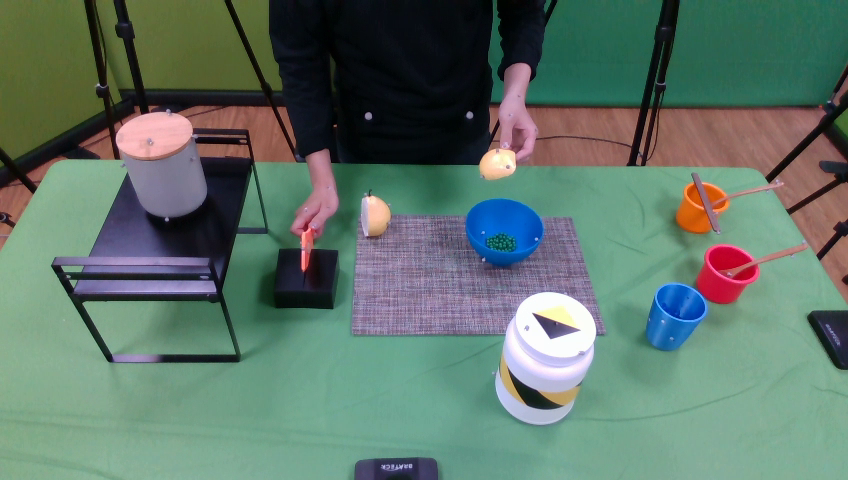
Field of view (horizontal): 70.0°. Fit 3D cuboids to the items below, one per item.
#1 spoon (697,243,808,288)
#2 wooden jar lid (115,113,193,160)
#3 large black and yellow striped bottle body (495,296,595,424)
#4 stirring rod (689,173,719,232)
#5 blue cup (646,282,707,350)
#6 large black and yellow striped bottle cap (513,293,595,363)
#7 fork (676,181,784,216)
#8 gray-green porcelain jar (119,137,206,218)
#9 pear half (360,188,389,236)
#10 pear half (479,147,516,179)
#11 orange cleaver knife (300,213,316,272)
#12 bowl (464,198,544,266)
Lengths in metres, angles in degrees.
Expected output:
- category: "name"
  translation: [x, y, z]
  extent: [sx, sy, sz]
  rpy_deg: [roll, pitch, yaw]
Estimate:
- category: "spoon"
  translation: [0.601, 0.045, 1.115]
  extent: [0.194, 0.022, 0.041]
  rpy_deg: [-29, 35, 30]
- category: "wooden jar lid"
  translation: [-0.399, -0.151, 0.900]
  extent: [0.108, 0.021, 0.107]
  rpy_deg: [3, 46, -3]
- category: "large black and yellow striped bottle body"
  translation: [0.183, 0.182, 0.923]
  extent: [0.131, 0.185, 0.130]
  rpy_deg: [2, 46, -2]
- category: "stirring rod"
  translation: [0.566, -0.079, 1.225]
  extent: [0.014, 0.006, 0.175]
  rpy_deg: [2, 45, 2]
- category: "blue cup"
  translation: [0.425, 0.136, 1.042]
  extent: [0.093, 0.101, 0.092]
  rpy_deg: [1, 45, -1]
- category: "large black and yellow striped bottle cap"
  translation: [0.186, 0.123, 0.863]
  extent: [0.115, 0.019, 0.114]
  rpy_deg: [3, 45, -3]
- category: "fork"
  translation: [0.618, -0.084, 1.235]
  extent: [0.207, 0.019, 0.028]
  rpy_deg: [-23, 21, 38]
- category: "gray-green porcelain jar"
  translation: [-0.403, -0.106, 0.946]
  extent: [0.106, 0.127, 0.105]
  rpy_deg: [3, 46, -2]
- category: "pear half"
  translation: [-0.096, -0.060, 1.181]
  extent: [0.056, 0.110, 0.076]
  rpy_deg: [-13, 52, -17]
- category: "pear half"
  translation: [0.128, -0.142, 1.085]
  extent: [0.070, 0.031, 0.087]
  rpy_deg: [-53, 33, -2]
- category: "orange cleaver knife"
  translation: [-0.216, 0.001, 1.129]
  extent: [0.012, 0.077, 0.210]
  rpy_deg: [-1, 16, -4]
- category: "bowl"
  translation: [0.149, -0.004, 1.168]
  extent: [0.151, 0.077, 0.150]
  rpy_deg: [2, 46, -2]
